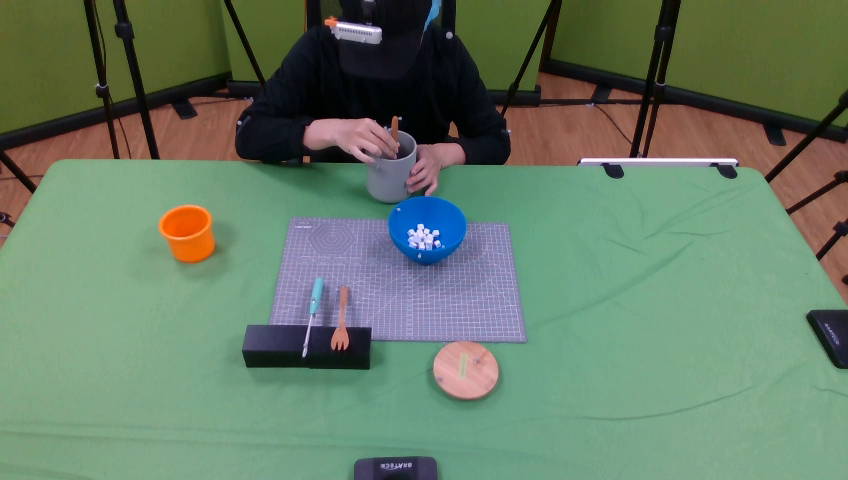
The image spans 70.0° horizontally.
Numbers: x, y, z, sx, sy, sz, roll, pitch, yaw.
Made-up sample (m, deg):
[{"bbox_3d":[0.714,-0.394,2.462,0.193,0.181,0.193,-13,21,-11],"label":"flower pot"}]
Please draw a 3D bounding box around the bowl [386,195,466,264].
[{"bbox_3d":[0.003,-0.007,1.162,0.151,0.077,0.150,2,46,-2],"label":"bowl"}]

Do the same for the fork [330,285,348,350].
[{"bbox_3d":[-0.140,0.127,1.021,0.028,0.019,0.206,-5,28,-2],"label":"fork"}]

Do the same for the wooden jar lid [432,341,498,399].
[{"bbox_3d":[0.067,0.216,0.997,0.108,0.021,0.107,1,46,-1],"label":"wooden jar lid"}]

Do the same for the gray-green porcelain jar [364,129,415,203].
[{"bbox_3d":[-0.073,-0.149,1.264,0.106,0.127,0.105,2,46,-2],"label":"gray-green porcelain jar"}]

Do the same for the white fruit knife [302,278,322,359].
[{"bbox_3d":[-0.189,0.126,1.020,0.016,0.027,0.206,-1,33,-2],"label":"white fruit knife"}]
